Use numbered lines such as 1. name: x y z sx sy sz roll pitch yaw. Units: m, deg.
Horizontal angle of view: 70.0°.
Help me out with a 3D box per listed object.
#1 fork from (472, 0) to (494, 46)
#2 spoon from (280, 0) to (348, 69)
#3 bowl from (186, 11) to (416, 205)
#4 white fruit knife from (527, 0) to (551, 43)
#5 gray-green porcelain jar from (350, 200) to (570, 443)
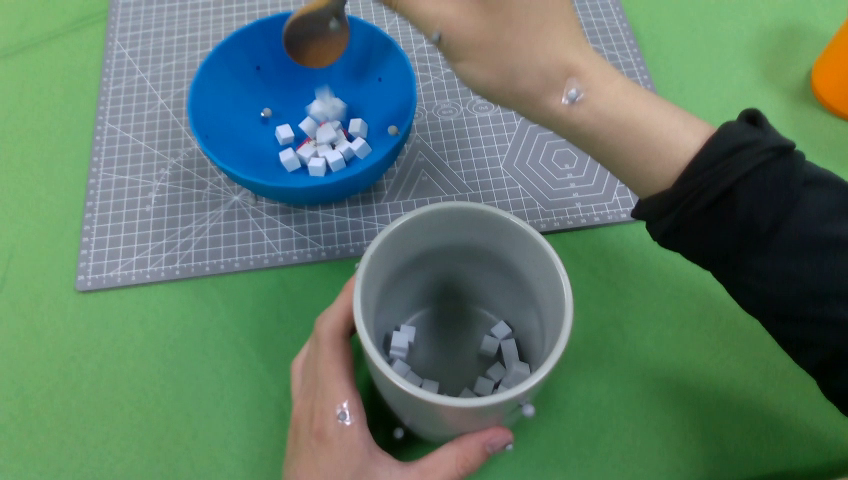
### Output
1. fork: 0.036 -0.267 0.527 0.028 0.018 0.206 -10 82 -9
2. spoon: -0.042 -0.134 0.316 0.042 0.193 0.021 3 83 -22
3. bowl: -0.080 -0.079 0.431 0.151 0.077 0.150 0 63 0
4. white fruit knife: 0.085 -0.272 0.531 0.016 0.027 0.206 -8 77 -5
5. gray-green porcelain jar: 0.018 0.054 0.341 0.106 0.127 0.105 0 63 1
